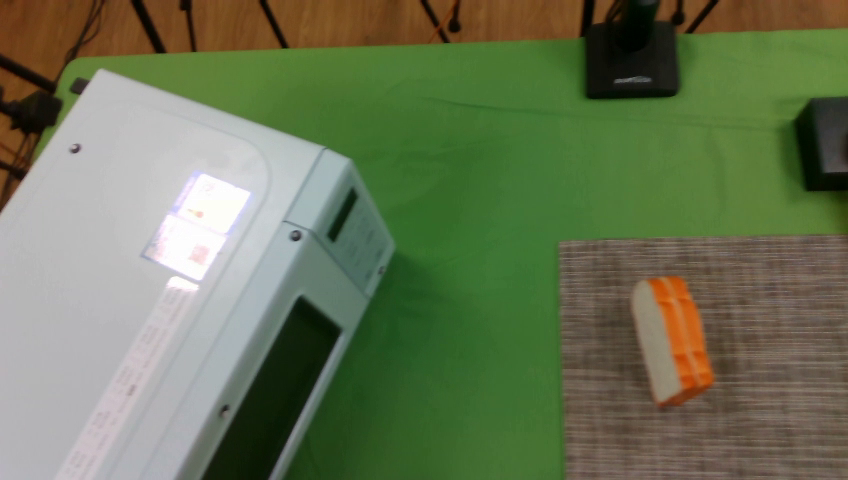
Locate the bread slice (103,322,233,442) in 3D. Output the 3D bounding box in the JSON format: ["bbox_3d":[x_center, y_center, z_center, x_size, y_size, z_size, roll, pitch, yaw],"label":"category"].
[{"bbox_3d":[-0.290,0.168,0.684,0.134,0.018,0.106,-24,69,-9],"label":"bread slice"}]

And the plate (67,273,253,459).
[{"bbox_3d":[-0.294,0.141,0.690,0.207,0.039,0.206,-1,70,4],"label":"plate"}]

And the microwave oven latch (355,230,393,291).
[{"bbox_3d":[-0.065,0.021,0.746,0.030,0.030,0.079,22,76,14],"label":"microwave oven latch"}]

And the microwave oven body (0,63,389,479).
[{"bbox_3d":[-0.284,0.095,0.648,0.324,0.262,0.440,21,76,14],"label":"microwave oven body"}]

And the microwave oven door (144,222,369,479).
[{"bbox_3d":[-0.169,0.179,0.597,0.039,0.245,0.354,20,75,15],"label":"microwave oven door"}]
